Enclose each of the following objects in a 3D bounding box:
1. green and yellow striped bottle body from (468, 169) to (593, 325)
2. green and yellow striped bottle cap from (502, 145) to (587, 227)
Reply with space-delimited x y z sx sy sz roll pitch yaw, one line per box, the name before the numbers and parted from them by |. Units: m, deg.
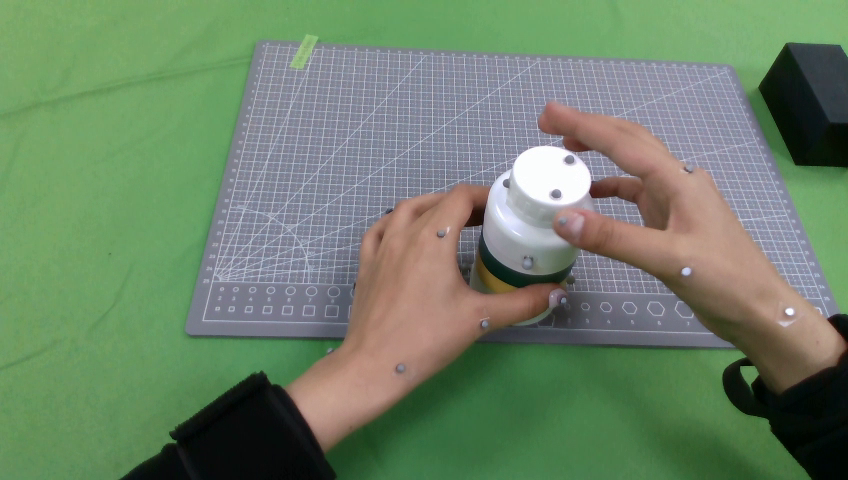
green and yellow striped bottle body | 0.064 -0.001 0.376 0.063 0.120 0.062 2 55 -2
green and yellow striped bottle cap | 0.066 -0.031 0.333 0.045 0.020 0.045 3 55 -4
